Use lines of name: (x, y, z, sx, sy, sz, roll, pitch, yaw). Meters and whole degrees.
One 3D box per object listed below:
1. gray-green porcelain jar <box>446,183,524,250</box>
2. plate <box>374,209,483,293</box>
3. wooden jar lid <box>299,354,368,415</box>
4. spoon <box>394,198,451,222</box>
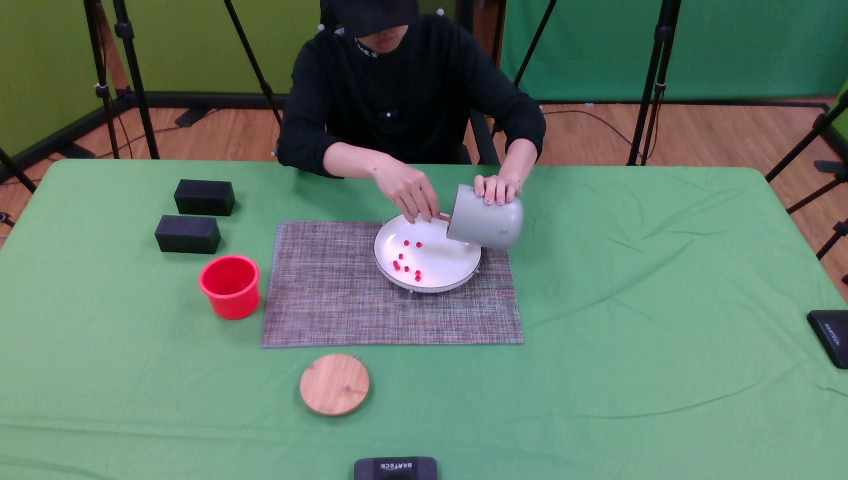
gray-green porcelain jar: (0.113, -0.041, 1.112, 0.126, 0.106, 0.105, 12, 46, -1)
plate: (0.008, 0.024, 1.158, 0.208, 0.039, 0.206, 2, 46, -2)
wooden jar lid: (-0.143, 0.232, 0.964, 0.108, 0.021, 0.107, 2, 45, -2)
spoon: (0.037, -0.042, 1.112, 0.194, 0.022, 0.041, 15, 30, -8)
